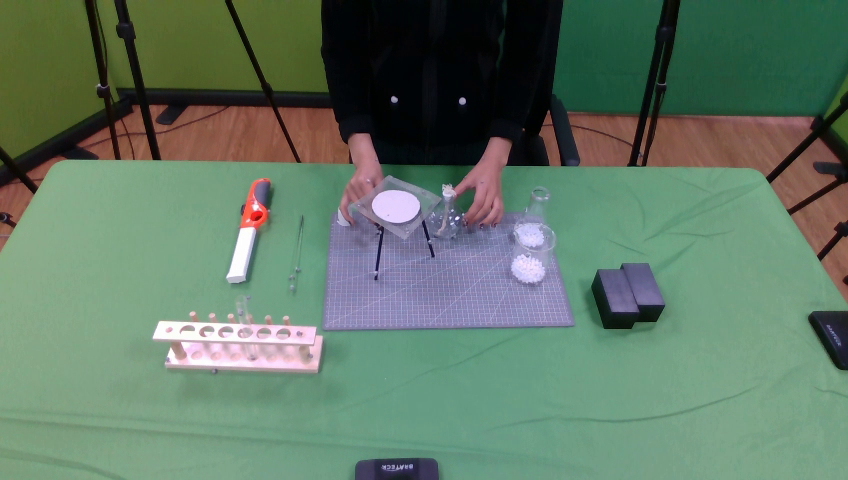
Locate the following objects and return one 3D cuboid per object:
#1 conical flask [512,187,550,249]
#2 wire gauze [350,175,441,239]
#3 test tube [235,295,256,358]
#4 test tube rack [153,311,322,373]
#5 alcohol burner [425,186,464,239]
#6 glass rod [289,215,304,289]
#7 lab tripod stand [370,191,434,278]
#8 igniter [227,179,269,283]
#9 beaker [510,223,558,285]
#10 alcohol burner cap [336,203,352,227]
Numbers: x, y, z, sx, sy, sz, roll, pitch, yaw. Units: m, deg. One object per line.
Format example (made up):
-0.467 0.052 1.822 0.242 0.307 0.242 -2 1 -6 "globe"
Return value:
0.217 -0.048 1.190 0.075 0.122 0.075 2 46 -2 "conical flask"
-0.050 -0.065 1.083 0.124 0.011 0.121 28 49 20 "wire gauze"
-0.274 0.136 0.933 0.017 0.151 0.017 4 45 -4 "test tube"
-0.293 0.160 0.977 0.242 0.085 0.066 3 46 -2 "test tube rack"
0.041 -0.059 1.194 0.078 0.119 0.077 4 45 -4 "alcohol burner"
-0.246 0.019 1.171 0.008 0.008 0.198 1 43 -3 "glass rod"
-0.050 -0.015 1.129 0.148 0.132 0.147 3 44 -3 "lab tripod stand"
-0.345 -0.027 1.195 0.057 0.025 0.274 -6 46 5 "igniter"
0.199 0.027 1.132 0.083 0.101 0.074 26 50 21 "beaker"
-0.162 -0.053 1.221 0.034 0.048 0.033 2 46 -2 "alcohol burner cap"
